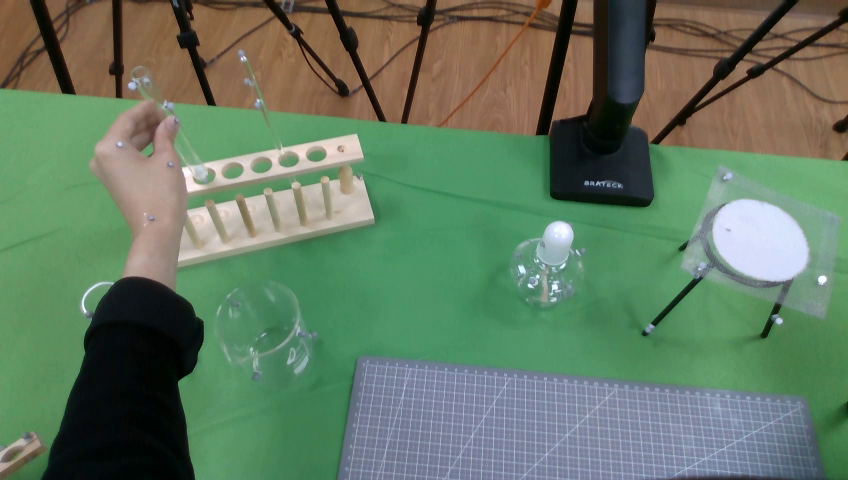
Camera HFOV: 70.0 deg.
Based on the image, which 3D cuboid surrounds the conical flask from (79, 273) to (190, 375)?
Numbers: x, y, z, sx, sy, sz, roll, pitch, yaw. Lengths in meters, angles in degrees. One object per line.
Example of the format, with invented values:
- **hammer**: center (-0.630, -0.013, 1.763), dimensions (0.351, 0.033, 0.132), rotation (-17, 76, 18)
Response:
- **conical flask**: center (-0.275, 0.074, 0.568), dimensions (0.075, 0.123, 0.074), rotation (0, 59, 0)

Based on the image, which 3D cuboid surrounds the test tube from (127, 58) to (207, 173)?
- **test tube**: center (-0.233, -0.109, 0.561), dimensions (0.017, 0.151, 0.017), rotation (-1, 62, 2)

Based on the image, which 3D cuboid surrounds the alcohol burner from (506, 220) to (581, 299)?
- **alcohol burner**: center (0.126, 0.011, 0.619), dimensions (0.078, 0.120, 0.077), rotation (1, 58, -2)

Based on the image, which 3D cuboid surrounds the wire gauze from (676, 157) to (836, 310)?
- **wire gauze**: center (0.303, -0.009, 0.545), dimensions (0.121, 0.011, 0.124), rotation (25, 63, 11)

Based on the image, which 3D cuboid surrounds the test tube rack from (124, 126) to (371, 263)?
- **test tube rack**: center (-0.185, -0.049, 0.663), dimensions (0.243, 0.086, 0.066), rotation (-13, 61, -9)

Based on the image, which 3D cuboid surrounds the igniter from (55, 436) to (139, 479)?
- **igniter**: center (-0.357, 0.251, 0.464), dimensions (0.276, 0.025, 0.057), rotation (-35, 68, -23)

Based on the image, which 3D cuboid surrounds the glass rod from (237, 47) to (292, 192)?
- **glass rod**: center (-0.158, -0.112, 0.623), dimensions (0.008, 0.201, 0.008), rotation (-3, 53, 4)

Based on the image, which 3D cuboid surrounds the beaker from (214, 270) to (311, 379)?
- **beaker**: center (-0.150, 0.088, 0.577), dimensions (0.074, 0.101, 0.083), rotation (18, 62, 10)

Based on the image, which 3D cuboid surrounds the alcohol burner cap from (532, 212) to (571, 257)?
- **alcohol burner cap**: center (0.125, -0.008, 0.588), dimensions (0.034, 0.048, 0.033), rotation (1, 59, -1)

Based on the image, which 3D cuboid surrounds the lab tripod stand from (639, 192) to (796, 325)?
- **lab tripod stand**: center (0.294, 0.026, 0.603), dimensions (0.148, 0.132, 0.147), rotation (1, 59, -2)

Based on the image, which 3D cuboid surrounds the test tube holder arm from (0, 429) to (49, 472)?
- **test tube holder arm**: center (-0.359, 0.189, 0.504), dimensions (0.088, 0.015, 0.010), rotation (-33, 65, -19)

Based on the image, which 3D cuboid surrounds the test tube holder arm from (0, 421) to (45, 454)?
- **test tube holder arm**: center (-0.398, 0.210, 0.490), dimensions (0.178, 0.015, 0.013), rotation (-35, 65, -20)
